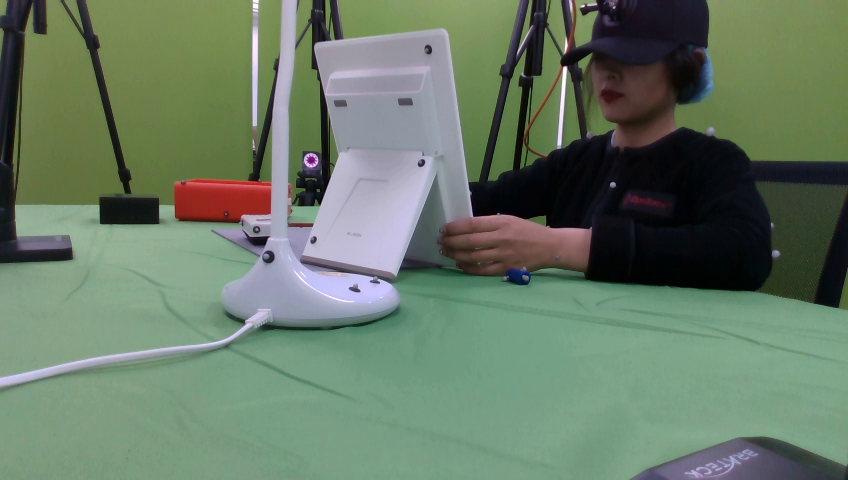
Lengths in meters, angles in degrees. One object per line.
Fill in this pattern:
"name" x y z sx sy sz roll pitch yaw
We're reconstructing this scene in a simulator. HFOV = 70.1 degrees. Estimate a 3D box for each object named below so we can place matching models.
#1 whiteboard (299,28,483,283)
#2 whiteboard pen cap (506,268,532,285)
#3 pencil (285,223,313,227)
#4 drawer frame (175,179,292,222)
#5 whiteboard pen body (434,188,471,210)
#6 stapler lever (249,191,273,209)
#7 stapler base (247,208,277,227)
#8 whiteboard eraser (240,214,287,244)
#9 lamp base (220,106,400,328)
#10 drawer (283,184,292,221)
"whiteboard" -0.075 -0.082 0.741 0.216 0.305 0.144 9 30 38
"whiteboard pen cap" 0.113 0.043 0.726 0.018 0.018 0.033 -2 9 -28
"pencil" -0.234 -0.030 1.198 0.195 0.012 0.012 0 8 -20
"drawer frame" -0.402 -0.087 1.311 0.214 0.082 0.201 1 8 -9
"whiteboard pen body" 0.039 -0.057 0.847 0.017 0.017 0.141 5 14 20
"stapler lever" -0.351 -0.086 1.306 0.027 0.040 0.118 0 5 -3
"stapler base" -0.350 -0.053 1.310 0.041 0.024 0.130 0 13 -3
"whiteboard eraser" -0.256 -0.017 0.958 0.056 0.042 0.112 0 8 -25
"lamp base" -0.102 -0.023 0.531 0.160 0.180 0.179 4 10 10
"drawer" -0.397 -0.086 1.314 0.212 0.073 0.194 1 8 -9
